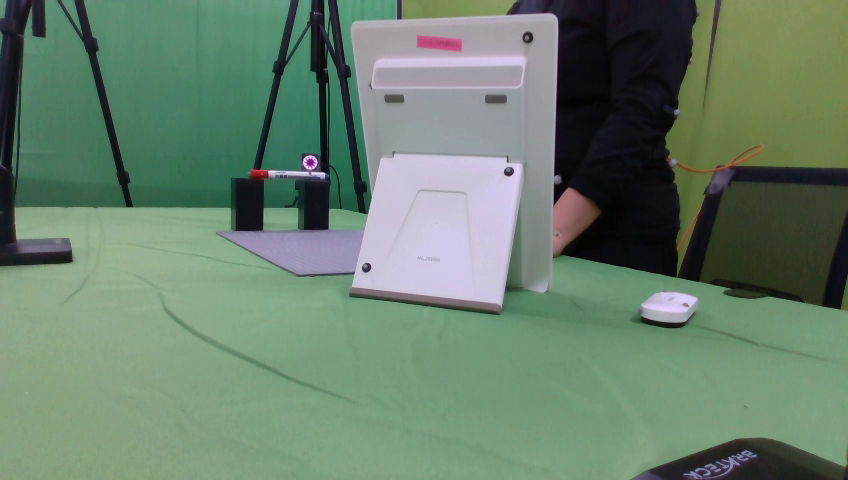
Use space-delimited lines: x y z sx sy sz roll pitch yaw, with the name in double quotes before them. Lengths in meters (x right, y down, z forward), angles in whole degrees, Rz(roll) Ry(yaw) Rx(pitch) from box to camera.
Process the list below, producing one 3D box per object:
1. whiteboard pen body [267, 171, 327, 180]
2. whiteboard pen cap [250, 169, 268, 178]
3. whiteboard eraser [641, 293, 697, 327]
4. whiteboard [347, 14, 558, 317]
"whiteboard pen body" -0.260 -0.126 1.181 0.141 0.017 0.017 -2 8 -26
"whiteboard pen cap" -0.315 -0.127 1.155 0.032 0.017 0.017 1 7 -24
"whiteboard eraser" 0.240 0.066 0.590 0.041 0.019 0.102 6 7 31
"whiteboard" 0.012 -0.056 0.609 0.216 0.305 0.144 5 27 20
